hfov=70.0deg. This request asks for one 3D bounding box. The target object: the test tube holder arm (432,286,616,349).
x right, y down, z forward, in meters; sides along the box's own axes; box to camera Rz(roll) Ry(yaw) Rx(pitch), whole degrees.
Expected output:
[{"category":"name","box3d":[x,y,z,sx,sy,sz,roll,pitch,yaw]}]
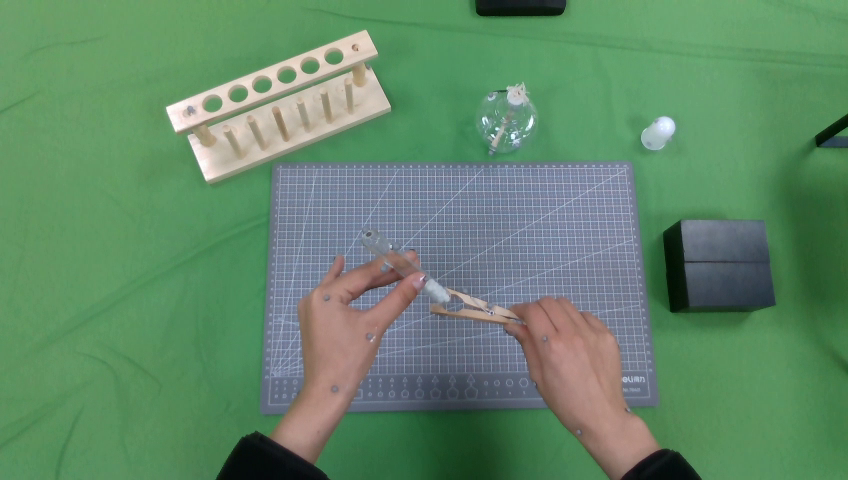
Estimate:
[{"category":"test tube holder arm","box3d":[0.093,0.074,0.578,0.178,0.015,0.013,15,85,10]}]

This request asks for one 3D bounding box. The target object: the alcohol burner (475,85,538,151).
[{"category":"alcohol burner","box3d":[0.101,-0.153,0.718,0.078,0.119,0.077,1,76,-3]}]

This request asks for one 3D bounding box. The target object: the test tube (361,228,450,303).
[{"category":"test tube","box3d":[-0.011,0.026,0.513,0.017,0.152,0.017,-10,63,22]}]

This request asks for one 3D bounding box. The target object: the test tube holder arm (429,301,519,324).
[{"category":"test tube holder arm","box3d":[0.049,0.070,0.585,0.087,0.015,0.010,7,83,9]}]

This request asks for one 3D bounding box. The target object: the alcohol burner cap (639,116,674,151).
[{"category":"alcohol burner cap","box3d":[0.293,-0.135,0.759,0.034,0.048,0.033,0,75,-1]}]

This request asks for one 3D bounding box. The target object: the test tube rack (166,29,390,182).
[{"category":"test tube rack","box3d":[-0.165,-0.158,0.722,0.242,0.085,0.066,-24,77,-8]}]
